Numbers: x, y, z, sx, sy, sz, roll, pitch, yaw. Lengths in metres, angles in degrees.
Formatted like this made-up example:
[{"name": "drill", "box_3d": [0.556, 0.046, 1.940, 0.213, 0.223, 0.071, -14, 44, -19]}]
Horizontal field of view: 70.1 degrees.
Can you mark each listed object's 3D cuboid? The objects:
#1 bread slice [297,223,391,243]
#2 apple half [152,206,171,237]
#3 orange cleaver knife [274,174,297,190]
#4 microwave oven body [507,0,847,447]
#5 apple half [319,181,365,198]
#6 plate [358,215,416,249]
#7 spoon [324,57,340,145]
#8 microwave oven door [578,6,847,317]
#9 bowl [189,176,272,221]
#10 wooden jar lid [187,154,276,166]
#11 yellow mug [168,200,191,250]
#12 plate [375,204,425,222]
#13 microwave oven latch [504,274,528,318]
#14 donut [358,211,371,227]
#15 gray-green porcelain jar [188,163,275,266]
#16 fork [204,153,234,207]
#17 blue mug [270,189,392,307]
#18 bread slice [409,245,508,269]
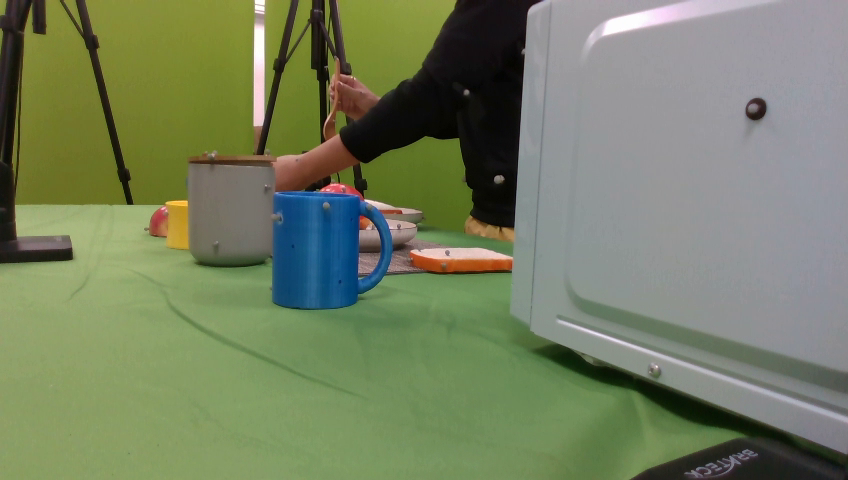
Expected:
[{"name": "bread slice", "box_3d": [-0.121, -0.013, 0.971, 0.106, 0.018, 0.135, 9, 11, 42]}, {"name": "apple half", "box_3d": [-0.415, -0.034, 1.017, 0.081, 0.053, 0.074, 1, 10, -8]}, {"name": "orange cleaver knife", "box_3d": [-0.283, -0.087, 1.343, 0.212, 0.077, 0.012, 24, -16, -41]}, {"name": "microwave oven body", "box_3d": [0.331, -0.042, 0.425, 0.444, 0.260, 0.324, -2, 8, -31]}, {"name": "apple half", "box_3d": [-0.130, -0.077, 0.952, 0.081, 0.033, 0.081, 4, 14, -1]}, {"name": "plate", "box_3d": [-0.116, -0.014, 0.967, 0.208, 0.039, 0.207, 2, 7, 0]}, {"name": "spoon", "box_3d": [-0.187, -0.292, 1.263, 0.021, 0.193, 0.042, 1, -11, 27]}, {"name": "microwave oven door", "box_3d": [0.294, -0.067, 0.570, 0.358, 0.243, 0.039, -3, 9, -31]}, {"name": "bowl", "box_3d": [-0.368, -0.076, 1.147, 0.151, 0.076, 0.151, 3, 1, 0]}, {"name": "wooden jar lid", "box_3d": [-0.244, -0.097, 0.771, 0.108, 0.020, 0.108, -1, 7, 0]}, {"name": "yellow mug", "box_3d": [-0.320, -0.023, 0.904, 0.130, 0.064, 0.100, 8, 10, 36]}, {"name": "plate", "box_3d": [-0.102, -0.053, 1.299, 0.209, 0.038, 0.209, 2, 7, 0]}, {"name": "microwave oven latch", "box_3d": [0.100, 0.041, 0.471, 0.079, 0.029, 0.030, -1, 7, -27]}, {"name": "donut", "box_3d": [-0.132, -0.041, 0.959, 0.099, 0.048, 0.099, 3, 8, 0]}, {"name": "gray-green porcelain jar", "box_3d": [-0.246, -0.034, 0.780, 0.106, 0.126, 0.106, 1, 7, 0]}, {"name": "fork", "box_3d": [-0.480, -0.134, 1.411, 0.028, 0.018, 0.207, 1, -35, 0]}, {"name": "blue mug", "box_3d": [-0.089, 0.005, 0.588, 0.117, 0.106, 0.082, 1, 7, -10]}, {"name": "bread slice", "box_3d": [0.048, 0.021, 0.816, 0.132, 0.019, 0.104, -1, 7, -24]}]
